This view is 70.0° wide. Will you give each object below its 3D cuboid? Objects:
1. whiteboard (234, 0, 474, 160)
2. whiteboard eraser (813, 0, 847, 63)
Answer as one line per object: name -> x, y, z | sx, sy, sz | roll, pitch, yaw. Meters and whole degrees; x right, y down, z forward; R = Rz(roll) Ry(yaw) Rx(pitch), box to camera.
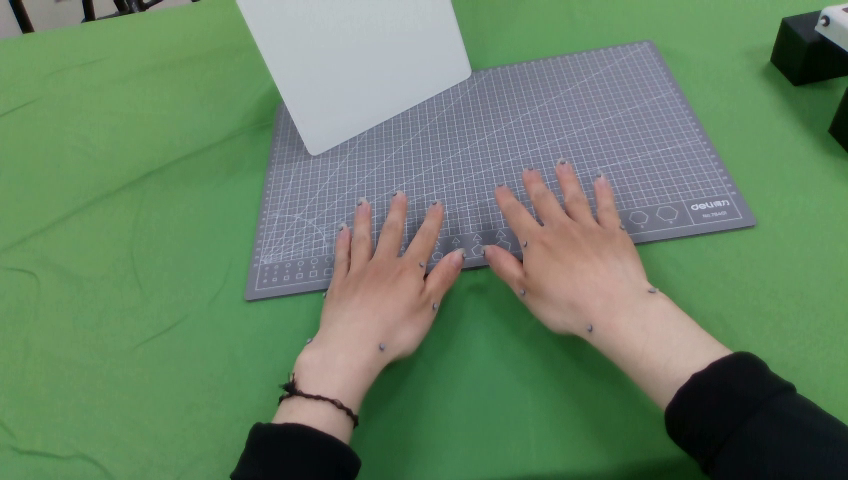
whiteboard -> -0.110, -0.284, 0.667 | 0.217, 0.308, 0.142 | -30, 30, -14
whiteboard eraser -> 0.407, -0.179, 0.542 | 0.055, 0.042, 0.111 | -17, 44, 5
